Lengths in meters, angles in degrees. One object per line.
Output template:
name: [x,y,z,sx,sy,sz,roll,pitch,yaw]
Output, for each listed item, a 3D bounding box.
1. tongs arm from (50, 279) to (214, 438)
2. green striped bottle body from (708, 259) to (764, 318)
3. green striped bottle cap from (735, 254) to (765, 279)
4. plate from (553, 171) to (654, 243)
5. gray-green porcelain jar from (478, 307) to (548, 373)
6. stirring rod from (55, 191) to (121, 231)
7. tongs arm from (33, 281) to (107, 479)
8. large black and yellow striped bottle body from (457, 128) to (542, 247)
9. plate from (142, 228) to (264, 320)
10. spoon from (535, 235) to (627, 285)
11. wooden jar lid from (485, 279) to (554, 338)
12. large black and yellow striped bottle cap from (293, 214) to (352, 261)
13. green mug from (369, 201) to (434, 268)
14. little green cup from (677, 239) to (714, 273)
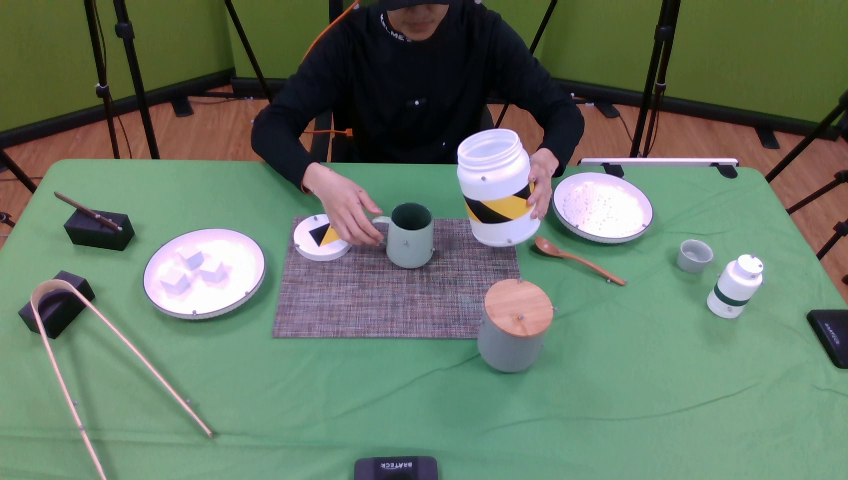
tongs arm: [-0.459,0.178,0.949,0.386,0.028,0.028,37,60,17]
green striped bottle body: [0.563,0.081,1.089,0.063,0.120,0.063,2,46,-2]
green striped bottle cap: [0.566,0.046,1.051,0.044,0.020,0.044,0,45,0]
plate: [0.373,-0.066,1.275,0.209,0.038,0.208,2,46,-2]
gray-green porcelain jar: [0.144,0.148,0.989,0.106,0.127,0.105,2,50,-2]
stirring rod: [-0.632,-0.055,1.138,0.175,0.014,0.006,24,50,19]
tongs arm: [-0.517,0.214,0.910,0.051,0.026,0.383,-29,63,-27]
large black and yellow striped bottle body: [0.134,-0.095,1.094,0.131,0.185,0.130,-13,33,9]
plate: [-0.394,0.064,1.095,0.208,0.039,0.206,2,46,-2]
spoon: [0.304,0.040,1.178,0.193,0.022,0.041,25,35,19]
wooden jar lid: [0.147,0.108,0.940,0.108,0.021,0.107,4,47,-4]
large black and yellow striped bottle cap: [-0.198,-0.007,1.187,0.115,0.019,0.114,3,47,-3]
green mug: [-0.043,-0.011,1.140,0.125,0.105,0.092,7,47,3]
little green cup: [0.530,0.033,1.189,0.061,0.039,0.061,2,47,-2]
